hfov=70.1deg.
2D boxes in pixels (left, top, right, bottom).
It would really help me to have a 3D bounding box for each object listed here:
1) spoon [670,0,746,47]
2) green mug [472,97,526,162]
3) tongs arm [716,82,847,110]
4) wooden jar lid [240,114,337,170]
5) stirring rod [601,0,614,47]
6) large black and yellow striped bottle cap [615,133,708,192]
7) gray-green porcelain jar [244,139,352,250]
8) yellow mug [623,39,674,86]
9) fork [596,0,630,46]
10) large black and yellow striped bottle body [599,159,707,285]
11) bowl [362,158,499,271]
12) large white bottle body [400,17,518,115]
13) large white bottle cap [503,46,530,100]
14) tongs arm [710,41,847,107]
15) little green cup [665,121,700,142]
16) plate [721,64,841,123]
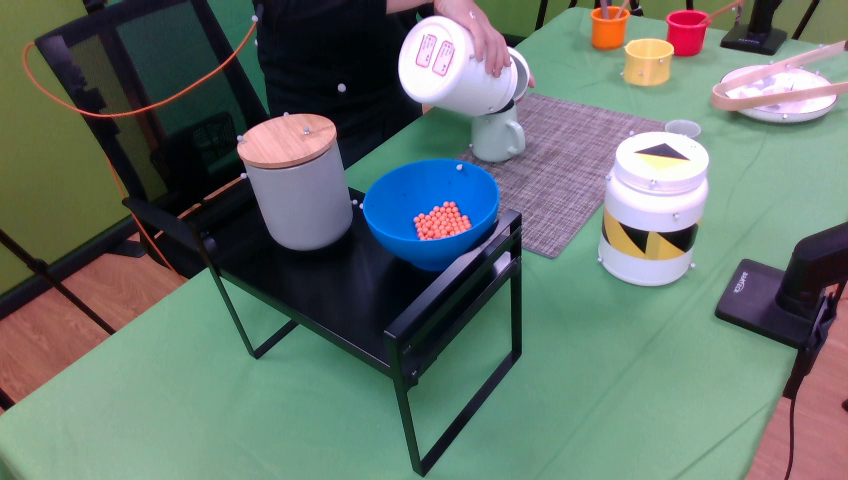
[{"bbox_3d":[0.629,-0.484,1.350,0.022,0.193,0.042,48,54,-7],"label":"spoon"},{"bbox_3d":[0.144,-0.202,1.122,0.093,0.105,0.124,-29,45,-23],"label":"green mug"},{"bbox_3d":[0.738,-0.282,1.134,0.388,0.028,0.028,-9,46,-5],"label":"tongs arm"},{"bbox_3d":[-0.149,-0.106,0.673,0.108,0.021,0.108,-6,38,5],"label":"wooden jar lid"},{"bbox_3d":[0.439,-0.551,1.463,0.014,0.006,0.175,-7,83,3],"label":"stirring rod"},{"bbox_3d":[0.312,-0.105,0.798,0.115,0.019,0.114,-5,41,5],"label":"large black and yellow striped bottle cap"},{"bbox_3d":[-0.144,-0.060,0.714,0.106,0.127,0.105,-4,41,4],"label":"gray-green porcelain jar"},{"bbox_3d":[0.485,-0.398,1.334,0.100,0.064,0.130,-18,41,-10],"label":"yellow mug"},{"bbox_3d":[0.481,-0.556,1.453,0.028,0.019,0.207,40,103,38],"label":"fork"},{"bbox_3d":[0.320,-0.042,0.854,0.131,0.185,0.130,-4,41,4],"label":"large black and yellow striped bottle body"},{"bbox_3d":[0.011,-0.019,0.679,0.151,0.077,0.150,-5,41,4],"label":"bowl"},{"bbox_3d":[0.064,-0.279,0.999,0.129,0.130,0.186,28,18,35],"label":"large white bottle body"},{"bbox_3d":[0.141,-0.307,1.127,0.114,0.115,0.018,8,48,18],"label":"large white bottle cap"},{"bbox_3d":[0.712,-0.332,1.194,0.386,0.026,0.050,-18,44,-16],"label":"tongs arm"},{"bbox_3d":[0.473,-0.188,1.113,0.061,0.039,0.061,-5,40,5],"label":"little green cup"},{"bbox_3d":[0.695,-0.282,1.189,0.207,0.039,0.206,-4,40,4],"label":"plate"}]
